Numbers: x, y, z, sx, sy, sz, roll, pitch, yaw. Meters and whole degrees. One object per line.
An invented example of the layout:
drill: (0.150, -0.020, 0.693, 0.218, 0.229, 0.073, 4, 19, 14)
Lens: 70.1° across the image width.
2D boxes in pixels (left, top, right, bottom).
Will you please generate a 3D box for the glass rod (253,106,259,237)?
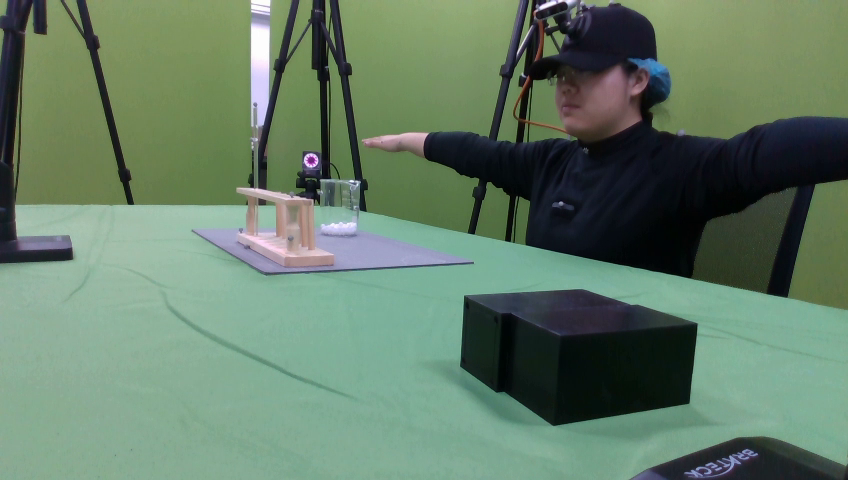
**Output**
glass rod: (-0.254, -0.101, 0.912, 0.008, 0.199, 0.008, 1, 4, 0)

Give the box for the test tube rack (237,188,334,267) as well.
test tube rack: (-0.202, -0.024, 0.855, 0.067, 0.085, 0.241, -2, 8, -30)

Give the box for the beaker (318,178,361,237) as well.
beaker: (-0.150, -0.059, 1.087, 0.083, 0.100, 0.074, 10, 11, 40)
